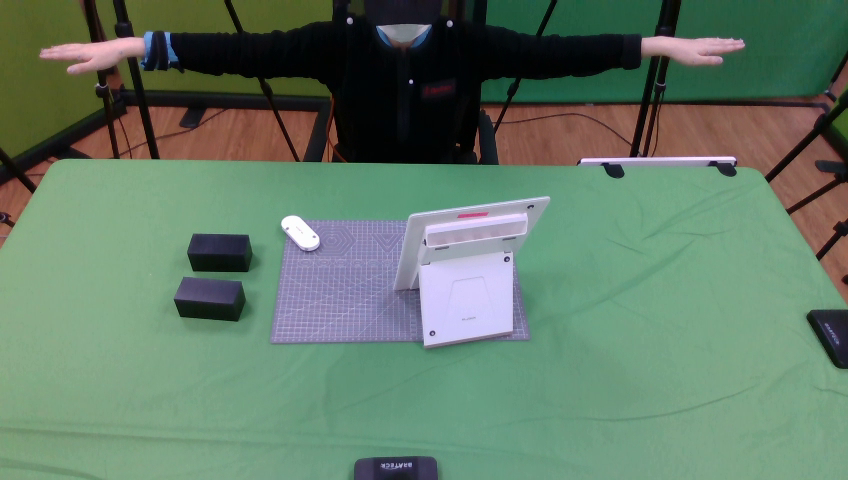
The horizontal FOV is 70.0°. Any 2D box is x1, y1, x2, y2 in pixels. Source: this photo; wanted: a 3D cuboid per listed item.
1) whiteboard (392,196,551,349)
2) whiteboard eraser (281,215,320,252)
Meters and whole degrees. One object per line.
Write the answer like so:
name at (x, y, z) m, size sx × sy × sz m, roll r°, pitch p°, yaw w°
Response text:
whiteboard at (0.077, 0.071, 0.977) m, size 0.217 × 0.306 × 0.143 m, roll -7°, pitch 67°, yaw -11°
whiteboard eraser at (-0.243, -0.015, 1.191) m, size 0.041 × 0.019 × 0.100 m, roll -30°, pitch 56°, yaw -29°
